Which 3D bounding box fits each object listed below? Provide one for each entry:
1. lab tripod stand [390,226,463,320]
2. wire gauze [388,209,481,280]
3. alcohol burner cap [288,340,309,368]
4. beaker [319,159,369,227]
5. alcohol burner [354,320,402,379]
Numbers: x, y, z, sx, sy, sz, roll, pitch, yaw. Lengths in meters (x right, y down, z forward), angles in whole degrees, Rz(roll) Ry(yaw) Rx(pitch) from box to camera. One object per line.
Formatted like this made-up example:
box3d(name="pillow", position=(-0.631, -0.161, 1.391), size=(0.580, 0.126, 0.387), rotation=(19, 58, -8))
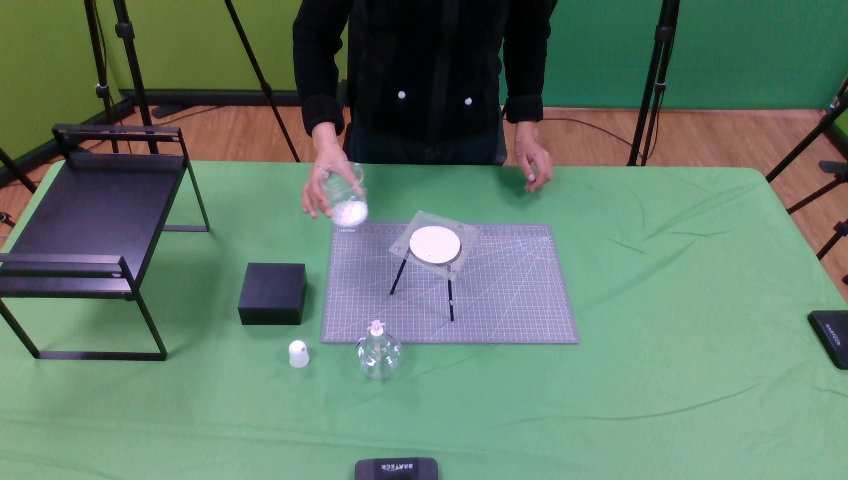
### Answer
box3d(name="lab tripod stand", position=(0.014, 0.053, 1.063), size=(0.148, 0.132, 0.147), rotation=(1, 48, -1))
box3d(name="wire gauze", position=(0.018, 0.002, 1.019), size=(0.125, 0.011, 0.121), rotation=(21, 49, 16))
box3d(name="alcohol burner cap", position=(-0.207, 0.183, 0.991), size=(0.034, 0.048, 0.033), rotation=(3, 47, -3))
box3d(name="beaker", position=(-0.133, -0.079, 1.043), size=(0.073, 0.101, 0.084), rotation=(32, 58, 26))
box3d(name="alcohol burner", position=(-0.074, 0.169, 0.964), size=(0.078, 0.120, 0.077), rotation=(1, 46, -1))
